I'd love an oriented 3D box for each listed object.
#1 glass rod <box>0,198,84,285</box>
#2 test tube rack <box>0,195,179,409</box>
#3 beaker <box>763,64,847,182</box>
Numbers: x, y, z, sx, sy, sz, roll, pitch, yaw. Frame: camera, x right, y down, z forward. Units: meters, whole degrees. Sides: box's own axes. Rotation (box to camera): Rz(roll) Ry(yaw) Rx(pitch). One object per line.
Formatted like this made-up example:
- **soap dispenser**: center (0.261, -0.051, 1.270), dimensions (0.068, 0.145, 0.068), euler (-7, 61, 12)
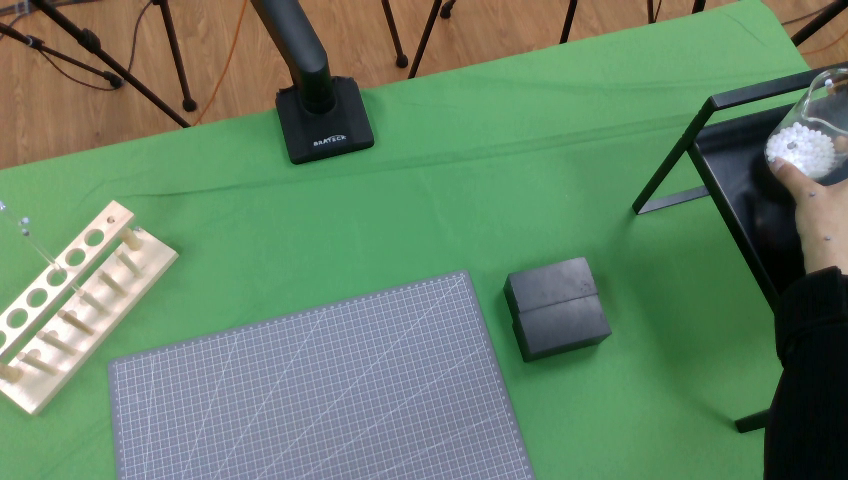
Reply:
- **glass rod**: center (-0.409, 0.013, 0.662), dimensions (0.008, 0.201, 0.008), euler (2, 59, -3)
- **test tube rack**: center (-0.408, 0.071, 0.708), dimensions (0.066, 0.086, 0.241), euler (32, 70, 12)
- **beaker**: center (0.385, -0.108, 0.592), dimensions (0.084, 0.101, 0.073), euler (-15, 67, -4)
